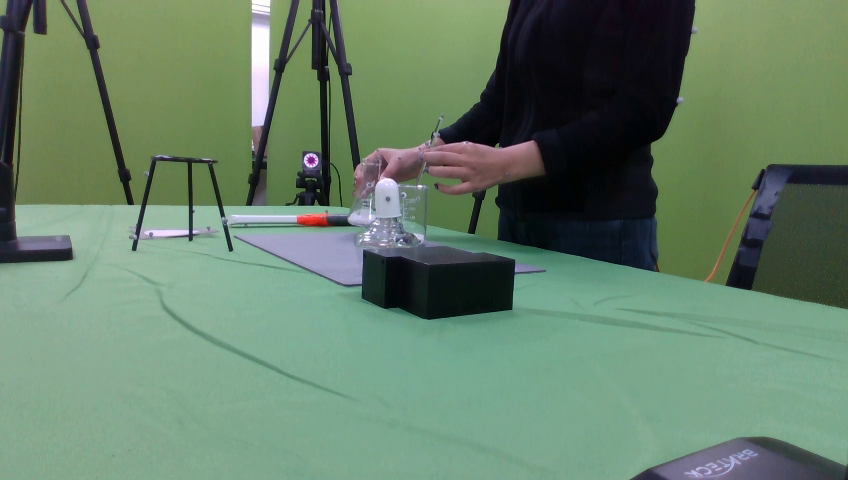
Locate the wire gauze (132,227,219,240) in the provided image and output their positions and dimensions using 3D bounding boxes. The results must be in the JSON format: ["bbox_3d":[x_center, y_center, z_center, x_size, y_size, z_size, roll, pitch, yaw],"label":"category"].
[{"bbox_3d":[-0.421,-0.014,1.024,0.122,0.011,0.124,-2,7,-34],"label":"wire gauze"}]

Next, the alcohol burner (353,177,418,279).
[{"bbox_3d":[-0.044,-0.014,0.710,0.078,0.119,0.078,4,9,0],"label":"alcohol burner"}]

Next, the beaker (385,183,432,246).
[{"bbox_3d":[-0.031,-0.043,1.000,0.084,0.100,0.074,4,7,15],"label":"beaker"}]

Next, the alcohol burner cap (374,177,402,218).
[{"bbox_3d":[-0.044,-0.049,0.704,0.034,0.048,0.034,-4,9,1],"label":"alcohol burner cap"}]

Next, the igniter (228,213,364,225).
[{"bbox_3d":[-0.252,-0.043,1.227,0.278,0.025,0.057,-2,-2,-32],"label":"igniter"}]

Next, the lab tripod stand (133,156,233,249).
[{"bbox_3d":[-0.342,-0.054,0.878,0.148,0.131,0.148,4,6,0],"label":"lab tripod stand"}]

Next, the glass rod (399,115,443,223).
[{"bbox_3d":[-0.006,-0.112,0.989,0.008,0.199,0.008,18,26,-9],"label":"glass rod"}]

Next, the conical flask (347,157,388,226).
[{"bbox_3d":[-0.099,-0.088,1.096,0.075,0.122,0.075,4,7,0],"label":"conical flask"}]
